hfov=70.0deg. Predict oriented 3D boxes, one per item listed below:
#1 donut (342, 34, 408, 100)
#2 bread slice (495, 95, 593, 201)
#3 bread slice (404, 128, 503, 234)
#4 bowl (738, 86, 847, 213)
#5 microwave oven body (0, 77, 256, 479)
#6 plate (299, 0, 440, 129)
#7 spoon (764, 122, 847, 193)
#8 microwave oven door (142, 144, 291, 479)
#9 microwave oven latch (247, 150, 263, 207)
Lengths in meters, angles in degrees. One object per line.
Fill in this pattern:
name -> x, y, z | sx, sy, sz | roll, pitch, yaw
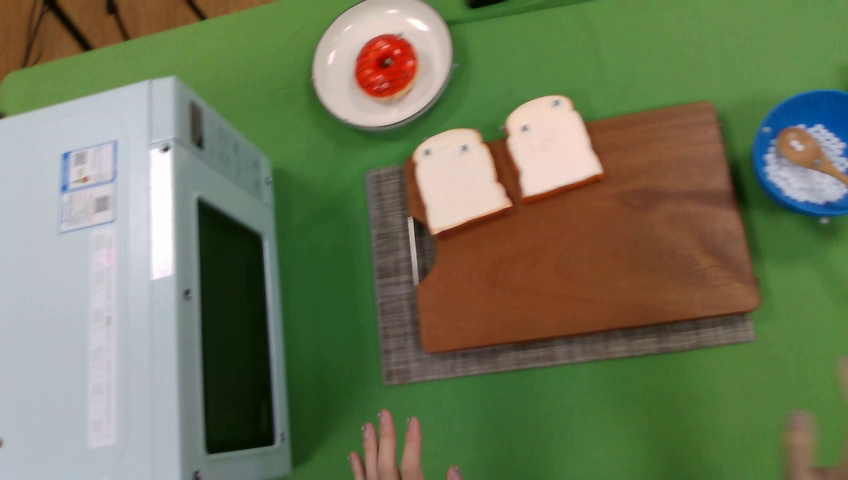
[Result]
donut -> -0.070, -0.246, 0.863 | 0.099, 0.048, 0.098 | -3, 76, 14
bread slice -> 0.146, -0.125, 0.782 | 0.105, 0.019, 0.130 | -19, 73, 5
bread slice -> 0.029, -0.081, 0.793 | 0.107, 0.018, 0.133 | -23, 72, 4
bowl -> 0.443, -0.095, 0.713 | 0.151, 0.077, 0.150 | -3, 76, 11
microwave oven body -> -0.381, 0.089, 0.732 | 0.326, 0.262, 0.439 | -12, 75, 8
plate -> -0.077, -0.253, 0.879 | 0.207, 0.039, 0.206 | -3, 76, 11
spoon -> 0.456, -0.066, 0.671 | 0.041, 0.022, 0.191 | -36, 54, 6
microwave oven door -> -0.233, 0.097, 0.695 | 0.039, 0.245, 0.353 | -12, 74, 8
microwave oven latch -> -0.245, -0.084, 0.851 | 0.030, 0.030, 0.078 | -11, 75, 8
